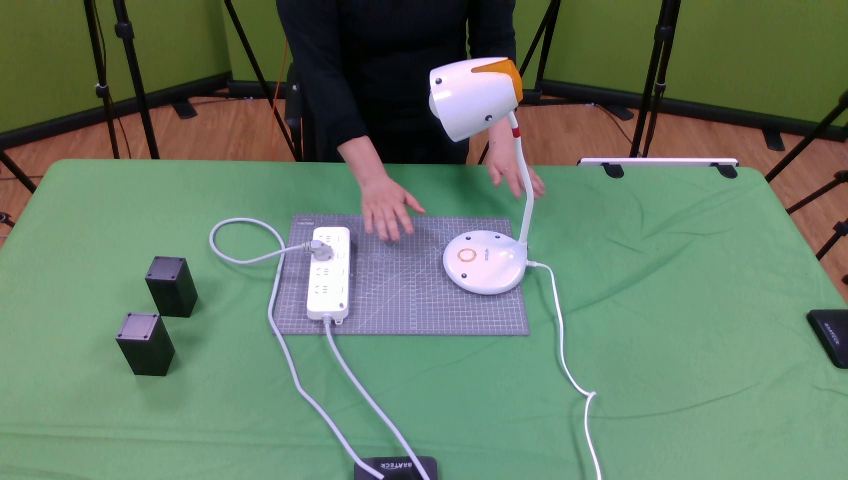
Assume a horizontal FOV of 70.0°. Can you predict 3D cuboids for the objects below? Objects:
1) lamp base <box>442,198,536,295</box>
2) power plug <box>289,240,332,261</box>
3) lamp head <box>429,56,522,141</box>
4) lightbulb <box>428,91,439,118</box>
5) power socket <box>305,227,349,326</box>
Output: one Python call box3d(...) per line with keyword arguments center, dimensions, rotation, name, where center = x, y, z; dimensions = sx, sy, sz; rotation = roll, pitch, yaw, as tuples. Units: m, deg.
box3d(center=(0.131, -0.013, 1.106), dimensions=(0.179, 0.181, 0.159), rotation=(0, 46, -8), name="lamp base")
box3d(center=(-0.208, 0.022, 1.123), dimensions=(0.072, 0.053, 0.035), rotation=(5, 44, 5), name="power plug")
box3d(center=(0.082, -0.212, 0.882), dimensions=(0.123, 0.113, 0.111), rotation=(-13, 44, 14), name="lamp head")
box3d(center=(0.057, -0.213, 0.888), dimensions=(0.107, 0.060, 0.059), rotation=(-12, 40, 24), name="lightbulb")
box3d(center=(-0.177, 0.058, 1.116), dimensions=(0.072, 0.033, 0.225), rotation=(-1, 46, -4), name="power socket")
